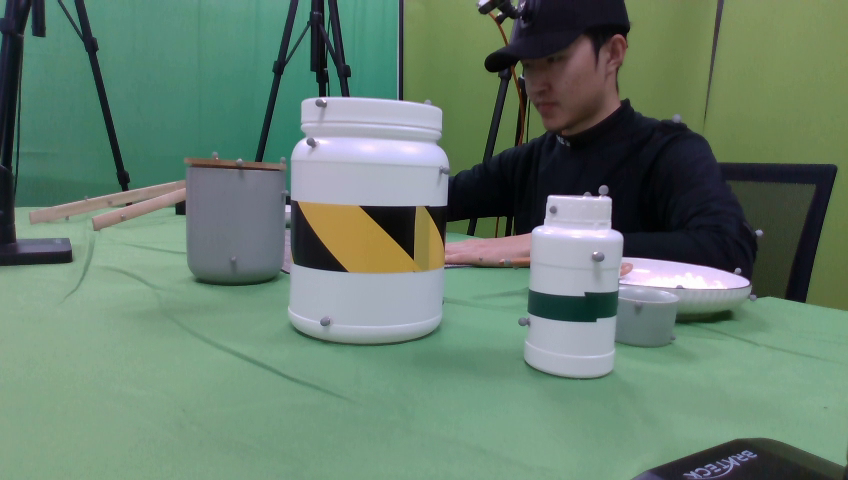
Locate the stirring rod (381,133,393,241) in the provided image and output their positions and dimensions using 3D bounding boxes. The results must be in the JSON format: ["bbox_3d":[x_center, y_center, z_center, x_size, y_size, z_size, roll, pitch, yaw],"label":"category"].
[{"bbox_3d":[-0.060,-0.085,0.982,0.006,0.176,0.014,-4,13,-36],"label":"stirring rod"}]

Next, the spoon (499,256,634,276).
[{"bbox_3d":[0.162,0.027,0.679,0.195,0.021,0.041,8,2,-30],"label":"spoon"}]

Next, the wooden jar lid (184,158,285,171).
[{"bbox_3d":[-0.210,-0.078,0.674,0.108,0.020,0.108,5,6,0],"label":"wooden jar lid"}]

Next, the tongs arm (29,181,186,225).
[{"bbox_3d":[-0.609,-0.083,1.245,0.050,0.026,0.386,5,16,23],"label":"tongs arm"}]

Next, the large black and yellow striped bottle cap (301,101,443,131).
[{"bbox_3d":[-0.042,-0.100,0.491,0.115,0.019,0.115,1,8,0],"label":"large black and yellow striped bottle cap"}]

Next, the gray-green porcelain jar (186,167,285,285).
[{"bbox_3d":[-0.212,-0.017,0.682,0.106,0.126,0.106,2,7,0],"label":"gray-green porcelain jar"}]

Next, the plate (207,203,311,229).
[{"bbox_3d":[-0.342,-0.050,1.259,0.208,0.039,0.207,3,7,0],"label":"plate"}]

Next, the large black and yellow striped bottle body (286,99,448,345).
[{"bbox_3d":[-0.047,-0.018,0.501,0.131,0.184,0.130,2,7,0],"label":"large black and yellow striped bottle body"}]

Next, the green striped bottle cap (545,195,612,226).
[{"bbox_3d":[0.106,-0.020,0.414,0.044,0.020,0.044,2,4,0],"label":"green striped bottle cap"}]

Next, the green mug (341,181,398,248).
[{"bbox_3d":[-0.090,-0.044,0.997,0.093,0.105,0.125,1,7,-8],"label":"green mug"}]

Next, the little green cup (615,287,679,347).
[{"bbox_3d":[0.180,0.064,0.506,0.061,0.038,0.061,1,8,0],"label":"little green cup"}]

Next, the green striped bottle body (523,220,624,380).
[{"bbox_3d":[0.104,0.031,0.421,0.063,0.119,0.063,2,7,0],"label":"green striped bottle body"}]

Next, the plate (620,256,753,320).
[{"bbox_3d":[0.234,0.049,0.651,0.209,0.038,0.209,2,7,0],"label":"plate"}]

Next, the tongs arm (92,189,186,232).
[{"bbox_3d":[-0.534,-0.075,1.222,0.028,0.028,0.388,-2,15,12],"label":"tongs arm"}]
